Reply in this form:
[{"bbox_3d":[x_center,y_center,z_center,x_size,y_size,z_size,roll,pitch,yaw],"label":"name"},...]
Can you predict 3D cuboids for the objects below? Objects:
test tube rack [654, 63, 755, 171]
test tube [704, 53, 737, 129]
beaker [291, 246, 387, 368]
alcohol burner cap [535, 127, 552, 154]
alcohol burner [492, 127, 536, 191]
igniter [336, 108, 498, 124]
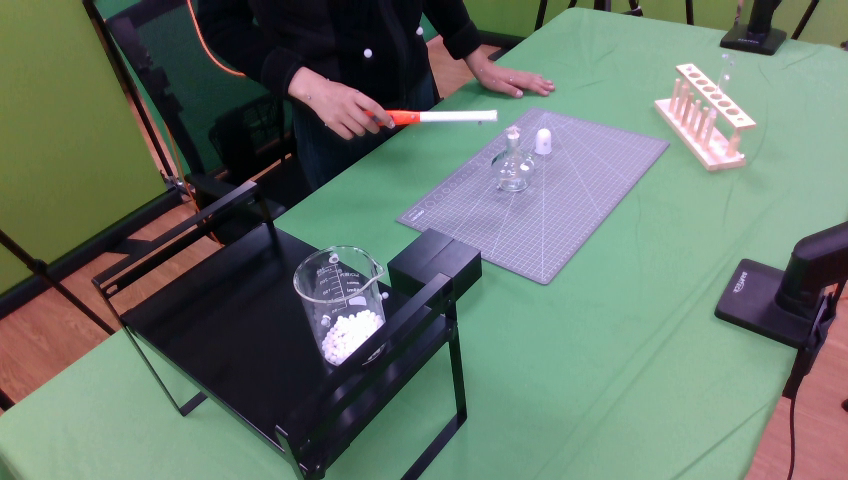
[{"bbox_3d":[0.510,-0.233,1.120,0.067,0.085,0.241,-8,41,-1],"label":"test tube rack"},{"bbox_3d":[0.526,-0.261,1.074,0.017,0.151,0.017,-2,44,2],"label":"test tube"},{"bbox_3d":[-0.073,0.066,0.573,0.084,0.101,0.073,-7,41,0],"label":"beaker"},{"bbox_3d":[0.227,-0.190,1.142,0.034,0.048,0.033,-3,40,3],"label":"alcohol burner cap"},{"bbox_3d":[0.156,-0.146,1.046,0.078,0.119,0.077,-4,43,4],"label":"alcohol burner"},{"bbox_3d":[-0.016,-0.209,1.014,0.276,0.025,0.057,0,15,6],"label":"igniter"}]
